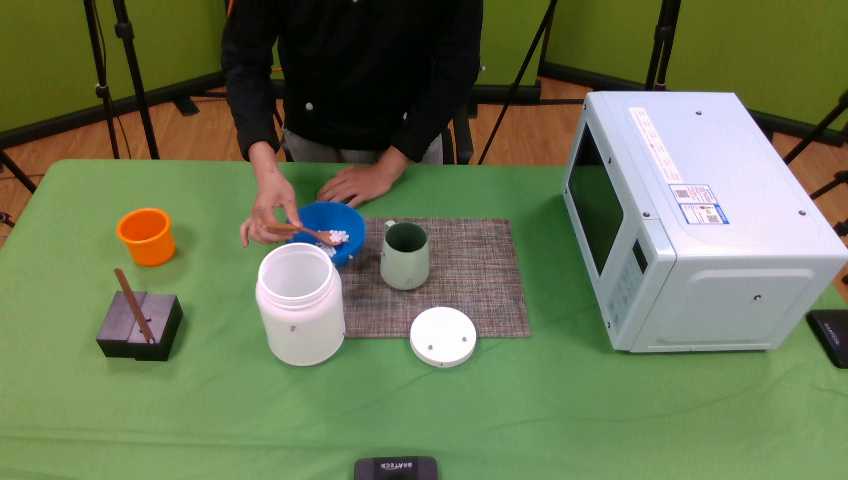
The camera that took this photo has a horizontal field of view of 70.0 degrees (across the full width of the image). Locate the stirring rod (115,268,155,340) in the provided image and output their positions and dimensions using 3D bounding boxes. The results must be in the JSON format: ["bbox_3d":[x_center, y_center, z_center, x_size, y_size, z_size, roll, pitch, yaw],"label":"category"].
[{"bbox_3d":[-0.479,0.103,0.999,0.014,0.006,0.175,7,32,-49],"label":"stirring rod"}]

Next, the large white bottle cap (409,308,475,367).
[{"bbox_3d":[0.031,0.166,1.041,0.115,0.018,0.114,2,47,-2],"label":"large white bottle cap"}]

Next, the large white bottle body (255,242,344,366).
[{"bbox_3d":[-0.196,0.102,0.967,0.131,0.185,0.130,2,49,-2],"label":"large white bottle body"}]

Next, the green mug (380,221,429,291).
[{"bbox_3d":[-0.043,0.020,1.116,0.092,0.105,0.124,-20,50,-21],"label":"green mug"}]

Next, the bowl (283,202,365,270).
[{"bbox_3d":[-0.185,0.006,1.136,0.151,0.077,0.150,3,45,-3],"label":"bowl"}]

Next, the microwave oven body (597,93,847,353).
[{"bbox_3d":[0.475,-0.041,1.109,0.326,0.261,0.438,-1,45,-4],"label":"microwave oven body"}]

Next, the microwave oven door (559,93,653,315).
[{"bbox_3d":[0.327,-0.074,1.123,0.039,0.245,0.353,-1,46,-5],"label":"microwave oven door"}]

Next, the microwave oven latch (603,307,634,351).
[{"bbox_3d":[0.332,0.153,1.044,0.030,0.029,0.078,0,45,-4],"label":"microwave oven latch"}]

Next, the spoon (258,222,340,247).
[{"bbox_3d":[-0.221,-0.015,1.089,0.194,0.021,0.041,19,29,-56],"label":"spoon"}]
